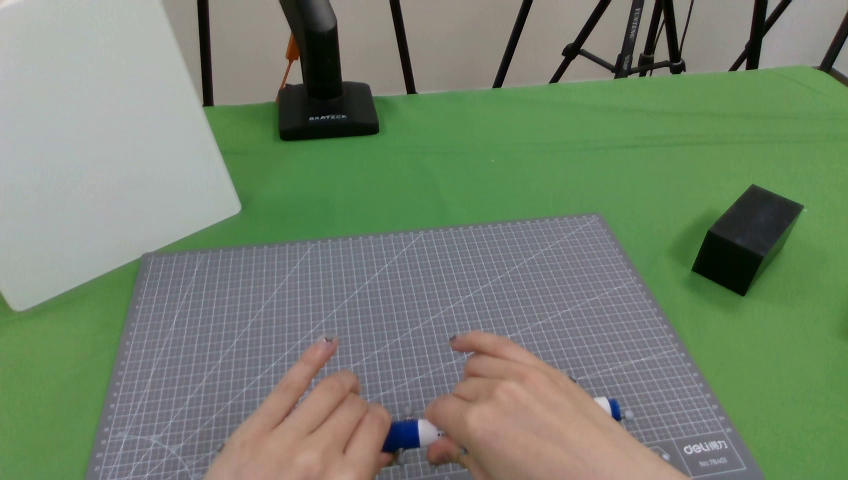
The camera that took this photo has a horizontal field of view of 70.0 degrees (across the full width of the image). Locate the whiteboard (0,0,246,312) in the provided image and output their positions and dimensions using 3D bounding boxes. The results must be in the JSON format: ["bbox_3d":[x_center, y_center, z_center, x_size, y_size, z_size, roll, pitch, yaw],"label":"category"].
[{"bbox_3d":[-0.336,-0.134,0.545,0.217,0.308,0.142,-31,31,-30],"label":"whiteboard"}]

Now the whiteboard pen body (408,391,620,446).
[{"bbox_3d":[0.041,0.103,0.344,0.141,0.017,0.017,-8,42,-1],"label":"whiteboard pen body"}]

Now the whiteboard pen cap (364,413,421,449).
[{"bbox_3d":[-0.017,0.108,0.344,0.033,0.018,0.018,-5,42,-6],"label":"whiteboard pen cap"}]
